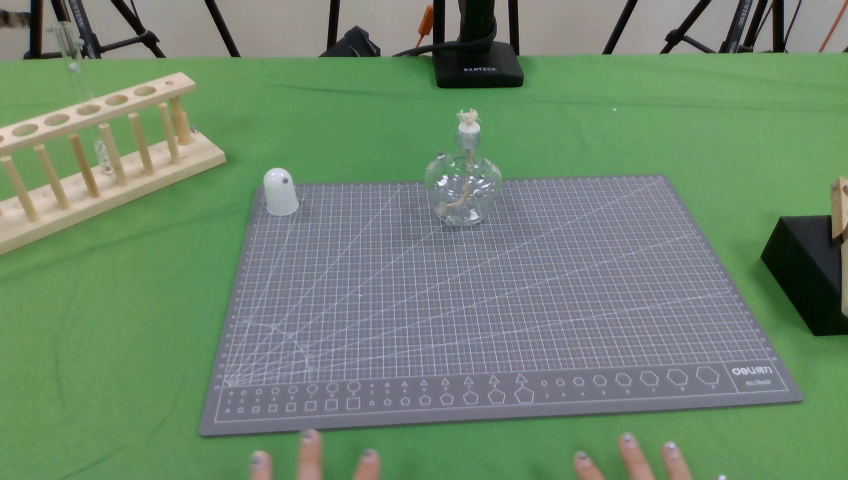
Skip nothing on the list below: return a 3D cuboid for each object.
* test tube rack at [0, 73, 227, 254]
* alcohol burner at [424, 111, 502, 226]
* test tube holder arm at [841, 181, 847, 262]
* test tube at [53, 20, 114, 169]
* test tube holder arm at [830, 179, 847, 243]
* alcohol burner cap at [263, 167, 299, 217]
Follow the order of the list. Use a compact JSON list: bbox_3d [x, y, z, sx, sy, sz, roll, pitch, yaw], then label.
[{"bbox_3d":[-0.331,-0.083,0.607,0.242,0.086,0.066,-31,51,-31],"label":"test tube rack"},{"bbox_3d":[0.039,-0.072,0.583,0.078,0.120,0.077,2,43,-1],"label":"alcohol burner"},{"bbox_3d":[0.365,0.003,0.516,0.013,0.015,0.177,17,44,14],"label":"test tube holder arm"},{"bbox_3d":[-0.330,-0.137,0.594,0.017,0.151,0.017,1,36,0],"label":"test tube"},{"bbox_3d":[0.377,-0.026,0.548,0.010,0.015,0.087,18,45,16],"label":"test tube holder arm"},{"bbox_3d":[-0.144,-0.051,0.606,0.034,0.048,0.033,2,42,-1],"label":"alcohol burner cap"}]
